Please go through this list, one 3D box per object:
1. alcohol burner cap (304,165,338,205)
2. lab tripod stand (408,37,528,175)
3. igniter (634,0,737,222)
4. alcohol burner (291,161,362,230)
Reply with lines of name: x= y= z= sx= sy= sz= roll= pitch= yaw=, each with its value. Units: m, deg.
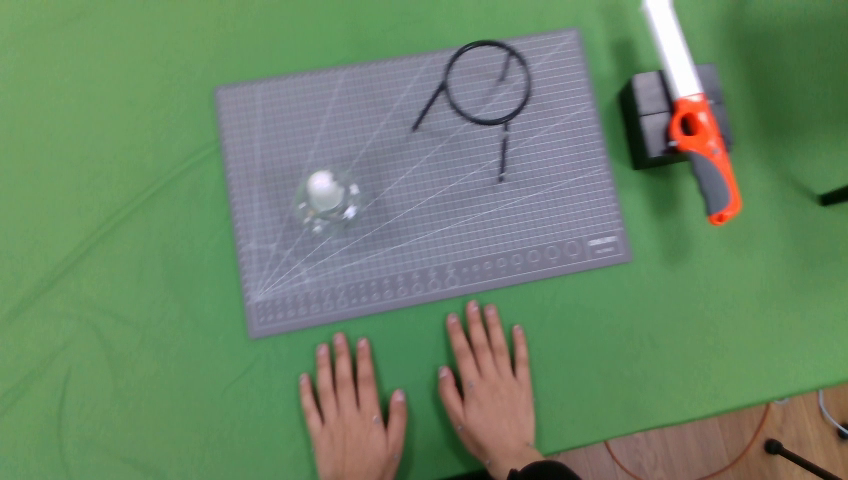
alcohol burner cap: x=-0.106 y=-0.058 z=0.613 sx=0.034 sy=0.048 sz=0.033 roll=1 pitch=74 yaw=-2
lab tripod stand: x=0.057 y=-0.154 z=0.663 sx=0.148 sy=0.132 sz=0.147 roll=0 pitch=79 yaw=-2
igniter: x=0.295 y=-0.154 z=0.686 sx=0.057 sy=0.025 sz=0.275 roll=-14 pitch=80 yaw=-3
alcohol burner: x=-0.107 y=-0.051 z=0.648 sx=0.078 sy=0.119 sz=0.077 roll=0 pitch=83 yaw=-3
